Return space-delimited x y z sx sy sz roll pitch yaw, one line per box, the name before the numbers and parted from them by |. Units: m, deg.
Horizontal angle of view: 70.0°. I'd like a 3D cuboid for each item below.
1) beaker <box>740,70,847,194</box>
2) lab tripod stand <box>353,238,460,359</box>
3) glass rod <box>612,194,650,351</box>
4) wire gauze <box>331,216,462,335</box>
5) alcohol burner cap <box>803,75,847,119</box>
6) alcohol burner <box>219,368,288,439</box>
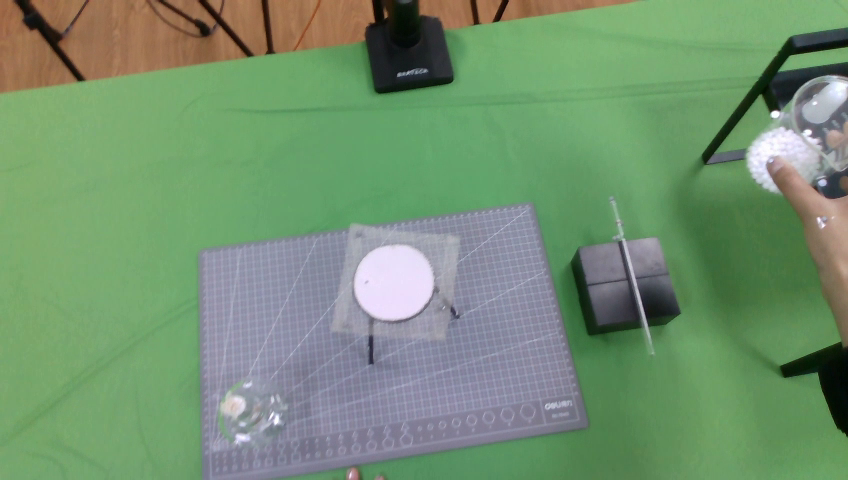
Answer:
beaker | 0.331 -0.086 0.528 0.074 0.101 0.083 1 74 4
lab tripod stand | -0.033 0.061 0.703 0.148 0.132 0.147 -1 68 3
glass rod | 0.248 0.035 0.729 0.008 0.008 0.198 -5 69 -1
wire gauze | -0.028 0.036 0.640 0.121 0.011 0.124 8 68 4
alcohol burner cap | 0.430 -0.155 0.641 0.034 0.048 0.033 0 67 0
alcohol burner | -0.193 0.178 0.668 0.078 0.120 0.077 0 70 0
